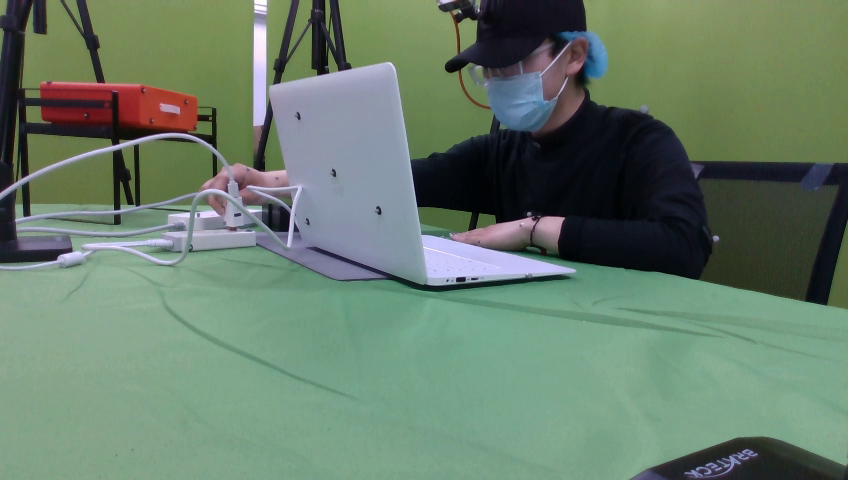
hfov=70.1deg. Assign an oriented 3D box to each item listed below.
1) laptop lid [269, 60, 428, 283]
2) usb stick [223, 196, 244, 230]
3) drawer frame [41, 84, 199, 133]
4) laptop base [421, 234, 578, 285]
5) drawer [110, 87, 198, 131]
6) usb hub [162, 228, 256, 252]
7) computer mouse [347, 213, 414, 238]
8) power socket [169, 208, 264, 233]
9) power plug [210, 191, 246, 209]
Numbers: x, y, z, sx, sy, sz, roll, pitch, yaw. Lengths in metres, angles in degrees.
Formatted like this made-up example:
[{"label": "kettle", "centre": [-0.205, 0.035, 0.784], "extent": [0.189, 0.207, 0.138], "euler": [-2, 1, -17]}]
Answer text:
[{"label": "laptop lid", "centre": [-0.110, -0.087, 0.752], "extent": [0.013, 0.241, 0.355], "euler": [-18, 19, -30]}, {"label": "usb stick", "centre": [-0.290, -0.036, 0.920], "extent": [0.027, 0.059, 0.021], "euler": [13, 16, 39]}, {"label": "drawer frame", "centre": [-0.604, -0.264, 1.224], "extent": [0.213, 0.082, 0.202], "euler": [3, 8, 8]}, {"label": "laptop base", "centre": [0.007, 0.022, 0.850], "extent": [0.237, 0.023, 0.352], "euler": [1, 7, -34]}, {"label": "drawer", "centre": [-0.601, -0.263, 1.225], "extent": [0.211, 0.073, 0.195], "euler": [3, 8, 10]}, {"label": "usb hub", "centre": [-0.316, 0.000, 0.893], "extent": [0.049, 0.025, 0.126], "euler": [9, 11, 41]}, {"label": "computer mouse", "centre": [-0.079, -0.025, 1.080], "extent": [0.117, 0.041, 0.062], "euler": [-5, 12, -18]}, {"label": "power socket", "centre": [-0.381, -0.038, 1.128], "extent": [0.072, 0.032, 0.227], "euler": [4, 8, 16]}, {"label": "power plug", "centre": [-0.386, -0.071, 1.203], "extent": [0.072, 0.052, 0.035], "euler": [8, 10, 25]}]
